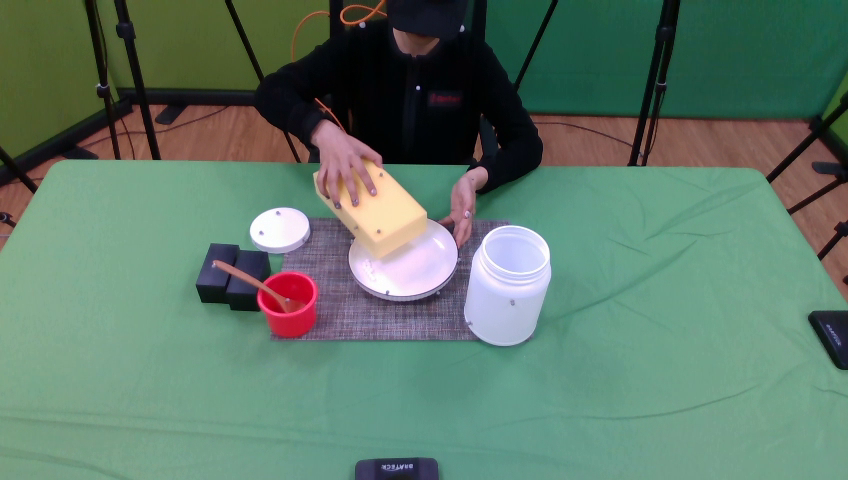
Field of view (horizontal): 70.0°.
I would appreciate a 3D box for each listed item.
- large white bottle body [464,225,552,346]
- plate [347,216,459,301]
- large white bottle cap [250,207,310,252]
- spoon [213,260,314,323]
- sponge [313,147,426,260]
[{"bbox_3d":[0.141,0.076,1.017,0.131,0.185,0.130,2,46,-2],"label":"large white bottle body"},{"bbox_3d":[-0.040,0.034,1.138,0.209,0.038,0.208,-1,48,1],"label":"plate"},{"bbox_3d":[-0.284,-0.023,1.197,0.115,0.018,0.114,1,46,-1],"label":"large white bottle cap"},{"bbox_3d":[-0.264,0.083,1.009,0.195,0.021,0.041,40,39,-28],"label":"spoon"},{"bbox_3d":[-0.105,-0.074,1.159,0.118,0.061,0.206,-33,63,-22],"label":"sponge"}]
